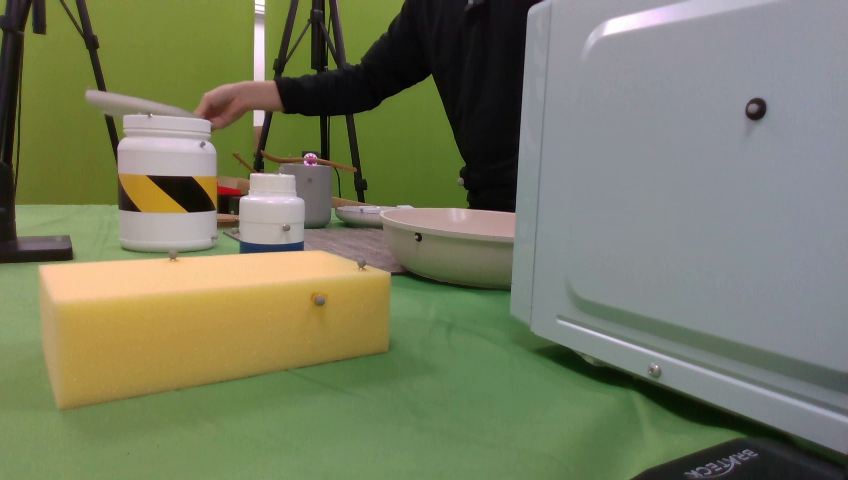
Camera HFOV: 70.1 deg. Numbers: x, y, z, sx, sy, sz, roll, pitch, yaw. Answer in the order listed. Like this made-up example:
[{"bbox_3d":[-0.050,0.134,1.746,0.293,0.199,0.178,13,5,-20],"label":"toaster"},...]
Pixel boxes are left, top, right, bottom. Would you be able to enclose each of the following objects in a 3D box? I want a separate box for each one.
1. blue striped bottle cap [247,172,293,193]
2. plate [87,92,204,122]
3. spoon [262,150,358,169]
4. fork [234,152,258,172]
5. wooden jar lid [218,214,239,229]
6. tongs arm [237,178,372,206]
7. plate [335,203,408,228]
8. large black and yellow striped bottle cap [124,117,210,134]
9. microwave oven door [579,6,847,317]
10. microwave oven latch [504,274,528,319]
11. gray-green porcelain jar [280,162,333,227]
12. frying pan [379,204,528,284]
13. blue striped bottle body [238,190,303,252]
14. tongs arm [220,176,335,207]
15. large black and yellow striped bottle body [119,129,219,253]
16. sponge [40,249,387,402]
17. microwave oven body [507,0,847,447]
[{"bbox_3d":[-0.152,-0.057,0.598,0.044,0.020,0.044,3,7,0],"label":"blue striped bottle cap"},{"bbox_3d":[-0.540,-0.242,1.177,0.209,0.038,0.209,11,4,0],"label":"plate"},{"bbox_3d":[-0.229,-0.162,1.222,0.194,0.021,0.041,4,5,-16],"label":"spoon"},{"bbox_3d":[-0.396,-0.143,1.486,0.028,0.018,0.208,21,-25,45],"label":"fork"},{"bbox_3d":[-0.404,-0.037,1.169,0.108,0.020,0.108,4,7,0],"label":"wooden jar lid"},{"bbox_3d":[-0.242,-0.095,1.374,0.387,0.026,0.050,9,1,-37],"label":"tongs arm"},{"bbox_3d":[-0.089,-0.053,1.309,0.208,0.039,0.207,2,8,0],"label":"plate"},{"bbox_3d":[-0.366,-0.163,0.866,0.115,0.019,0.115,3,7,0],"label":"large black and yellow striped bottle cap"},{"bbox_3d":[0.294,-0.067,0.570,0.358,0.243,0.039,-3,9,-31],"label":"microwave oven door"},{"bbox_3d":[0.100,0.041,0.471,0.079,0.029,0.030,-1,7,-28],"label":"microwave oven latch"},{"bbox_3d":[-0.237,-0.092,1.220,0.106,0.126,0.106,2,7,0],"label":"gray-green porcelain jar"},{"bbox_3d":[0.187,-0.015,0.809,0.489,0.102,0.306,-7,12,-13],"label":"frying pan"},{"bbox_3d":[-0.153,-0.007,0.606,0.063,0.120,0.063,2,7,0],"label":"blue striped bottle body"},{"bbox_3d":[-0.285,-0.105,1.445,0.389,0.027,0.028,9,-3,-23],"label":"tongs arm"},{"bbox_3d":[-0.367,-0.080,0.876,0.131,0.184,0.130,2,7,0],"label":"large black and yellow striped bottle body"},{"bbox_3d":[-0.142,0.047,0.419,0.208,0.061,0.117,-3,8,-36],"label":"sponge"},{"bbox_3d":[0.331,-0.042,0.425,0.444,0.260,0.324,-2,8,-31],"label":"microwave oven body"}]
